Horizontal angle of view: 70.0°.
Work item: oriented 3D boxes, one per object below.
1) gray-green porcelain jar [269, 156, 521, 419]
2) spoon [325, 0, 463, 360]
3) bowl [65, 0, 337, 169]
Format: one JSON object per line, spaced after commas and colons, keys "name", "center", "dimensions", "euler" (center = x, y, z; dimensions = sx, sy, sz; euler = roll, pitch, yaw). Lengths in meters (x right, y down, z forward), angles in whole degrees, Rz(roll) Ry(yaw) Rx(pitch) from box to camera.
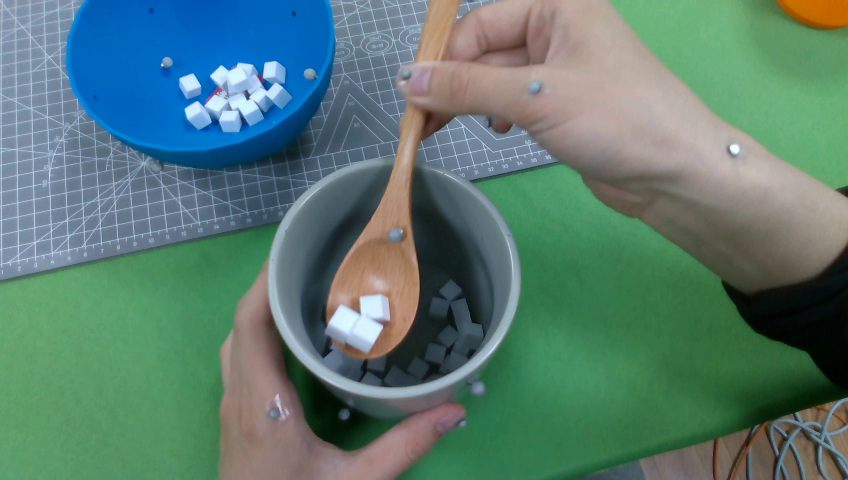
{"name": "gray-green porcelain jar", "center": [-0.012, 0.034, 0.307], "dimensions": [0.106, 0.127, 0.105], "euler": [0, 69, -1]}
{"name": "spoon", "center": [-0.004, -0.042, 0.260], "dimensions": [0.041, 0.022, 0.194], "euler": [16, 97, 14]}
{"name": "bowl", "center": [-0.125, -0.101, 0.377], "dimensions": [0.151, 0.077, 0.150], "euler": [0, 69, -1]}
